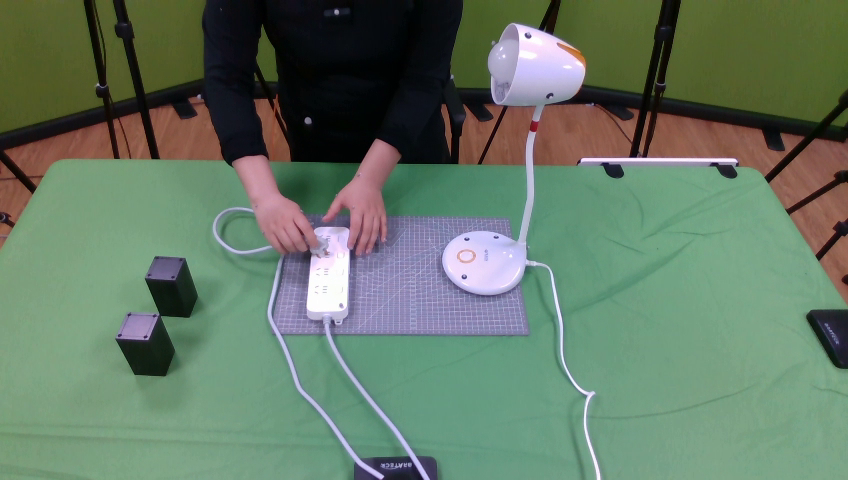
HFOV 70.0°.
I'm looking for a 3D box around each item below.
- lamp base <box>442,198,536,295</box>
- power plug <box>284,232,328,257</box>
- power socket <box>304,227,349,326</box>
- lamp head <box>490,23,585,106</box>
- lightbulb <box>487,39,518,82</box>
[{"bbox_3d":[0.130,-0.012,1.104,0.179,0.181,0.159,-1,46,-9],"label":"lamp base"},{"bbox_3d":[-0.212,0.009,1.116,0.072,0.053,0.035,3,44,21],"label":"power plug"},{"bbox_3d":[-0.177,0.058,1.116,0.072,0.033,0.225,-1,46,-4],"label":"power socket"},{"bbox_3d":[0.165,-0.241,0.872,0.123,0.113,0.111,9,43,-17],"label":"lamp head"},{"bbox_3d":[0.143,-0.252,0.865,0.108,0.060,0.059,9,45,-7],"label":"lightbulb"}]
